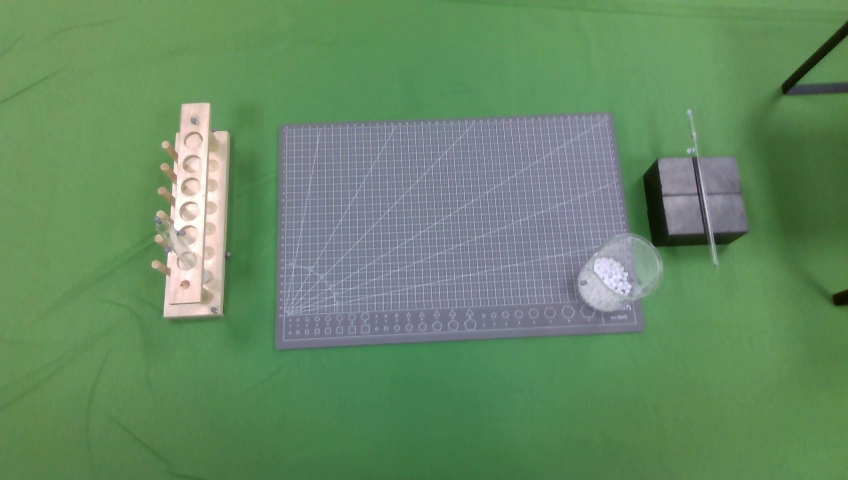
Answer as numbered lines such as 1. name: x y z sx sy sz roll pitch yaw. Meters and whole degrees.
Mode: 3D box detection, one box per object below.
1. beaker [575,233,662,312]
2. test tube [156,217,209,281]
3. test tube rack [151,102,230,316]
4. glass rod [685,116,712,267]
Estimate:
1. beaker: 0.220 0.043 0.711 0.084 0.101 0.073 -1 73 -1
2. test tube: -0.261 0.014 0.662 0.017 0.151 0.017 2 66 -3
3. test tube rack: -0.283 -0.036 0.728 0.067 0.085 0.241 -2 73 -2
4. glass rod: 0.338 -0.063 0.747 0.008 0.008 0.198 0 74 -2
